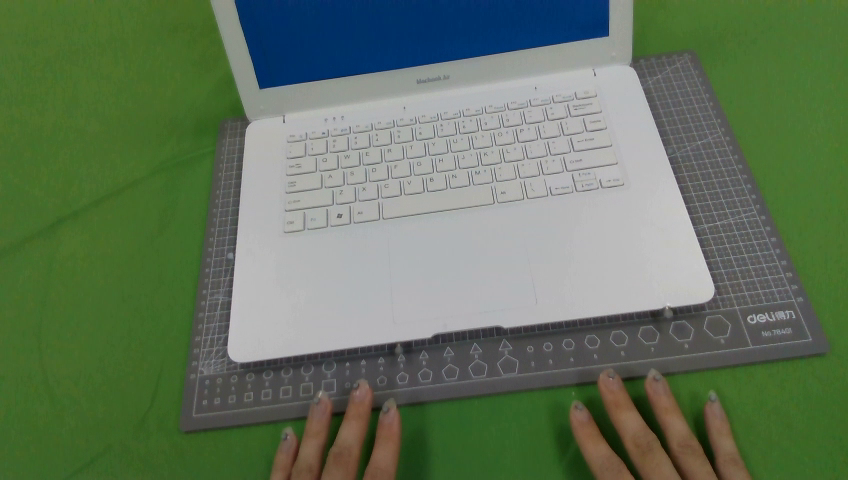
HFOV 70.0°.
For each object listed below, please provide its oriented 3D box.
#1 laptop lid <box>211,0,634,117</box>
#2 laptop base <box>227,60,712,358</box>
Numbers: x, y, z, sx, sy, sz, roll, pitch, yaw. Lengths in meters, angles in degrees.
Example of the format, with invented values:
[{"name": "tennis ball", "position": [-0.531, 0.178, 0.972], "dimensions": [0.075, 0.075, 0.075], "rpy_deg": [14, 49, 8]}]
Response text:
[{"name": "laptop lid", "position": [-0.005, -0.231, 0.493], "dimensions": [0.356, 0.244, 0.013], "rpy_deg": [-9, 31, 4]}, {"name": "laptop base", "position": [0.021, -0.034, 0.494], "dimensions": [0.354, 0.023, 0.233], "rpy_deg": [-8, 62, 3]}]
